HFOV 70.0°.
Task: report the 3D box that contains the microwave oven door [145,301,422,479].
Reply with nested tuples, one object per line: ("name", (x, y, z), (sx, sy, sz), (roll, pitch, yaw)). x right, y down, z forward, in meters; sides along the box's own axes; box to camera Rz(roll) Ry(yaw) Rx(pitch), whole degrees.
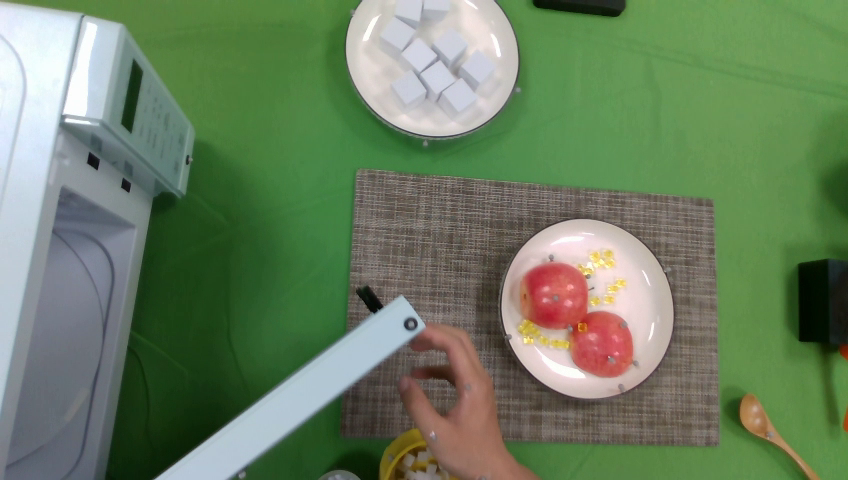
("microwave oven door", (-0.163, 0.169, 0.523), (0.356, 0.244, 0.039), (-37, 87, -12))

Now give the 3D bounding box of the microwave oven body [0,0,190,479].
("microwave oven body", (-0.417, 0.042, 0.508), (0.327, 0.260, 0.440), (7, 82, -8))

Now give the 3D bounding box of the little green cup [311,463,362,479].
("little green cup", (-0.093, 0.266, 0.641), (0.062, 0.038, 0.061), (2, 80, -9))

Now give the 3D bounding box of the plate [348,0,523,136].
("plate", (0.013, -0.221, 0.725), (0.208, 0.039, 0.207), (1, 82, -8))

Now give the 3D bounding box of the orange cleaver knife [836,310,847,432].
("orange cleaver knife", (0.527, 0.127, 0.729), (0.012, 0.077, 0.212), (6, 105, -3))

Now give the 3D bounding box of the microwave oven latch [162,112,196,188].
("microwave oven latch", (-0.265, -0.098, 0.648), (0.030, 0.029, 0.079), (9, 82, -7))

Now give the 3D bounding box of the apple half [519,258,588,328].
("apple half", (0.150, 0.059, 0.686), (0.075, 0.053, 0.080), (2, 82, -6))

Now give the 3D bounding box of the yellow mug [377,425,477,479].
("yellow mug", (-0.003, 0.267, 0.639), (0.100, 0.064, 0.130), (16, 83, -6))

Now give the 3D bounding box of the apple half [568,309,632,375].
("apple half", (0.205, 0.117, 0.695), (0.081, 0.033, 0.081), (1, 79, -7))

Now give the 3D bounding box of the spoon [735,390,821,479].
("spoon", (0.438, 0.257, 0.728), (0.193, 0.021, 0.041), (47, 61, 0))

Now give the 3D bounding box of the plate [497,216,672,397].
("plate", (0.183, 0.076, 0.704), (0.209, 0.038, 0.208), (1, 83, -8))
